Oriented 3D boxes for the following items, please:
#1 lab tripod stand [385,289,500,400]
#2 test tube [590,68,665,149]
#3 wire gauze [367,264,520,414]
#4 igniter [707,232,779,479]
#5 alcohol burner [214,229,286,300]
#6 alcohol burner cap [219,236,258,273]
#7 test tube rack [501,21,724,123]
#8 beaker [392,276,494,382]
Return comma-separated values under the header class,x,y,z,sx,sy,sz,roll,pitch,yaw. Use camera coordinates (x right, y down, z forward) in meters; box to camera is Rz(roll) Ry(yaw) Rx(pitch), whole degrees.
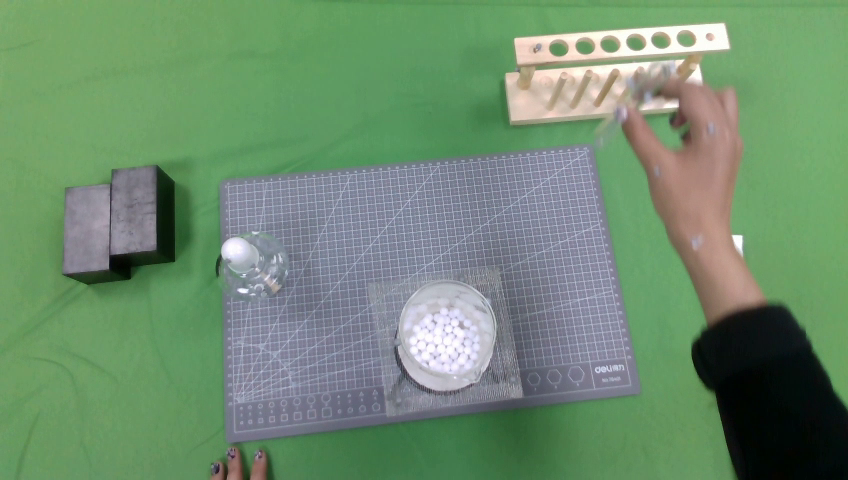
class,x,y,z,sx,sy,sz,roll,pitch,yaw
lab tripod stand,0.013,0.108,0.608,0.148,0.132,0.147,0,74,1
test tube,0.167,-0.106,0.511,0.017,0.150,0.017,0,81,-1
wire gauze,0.016,0.087,0.546,0.125,0.011,0.120,-8,73,0
igniter,0.350,0.126,0.666,0.057,0.025,0.275,1,75,-11
alcohol burner,-0.188,0.022,0.639,0.078,0.120,0.077,0,72,0
alcohol burner cap,-0.186,0.013,0.604,0.034,0.048,0.033,1,76,-4
test tube rack,0.220,-0.197,0.721,0.242,0.085,0.066,-5,75,-2
beaker,0.018,0.080,0.498,0.074,0.101,0.083,-29,76,-7
